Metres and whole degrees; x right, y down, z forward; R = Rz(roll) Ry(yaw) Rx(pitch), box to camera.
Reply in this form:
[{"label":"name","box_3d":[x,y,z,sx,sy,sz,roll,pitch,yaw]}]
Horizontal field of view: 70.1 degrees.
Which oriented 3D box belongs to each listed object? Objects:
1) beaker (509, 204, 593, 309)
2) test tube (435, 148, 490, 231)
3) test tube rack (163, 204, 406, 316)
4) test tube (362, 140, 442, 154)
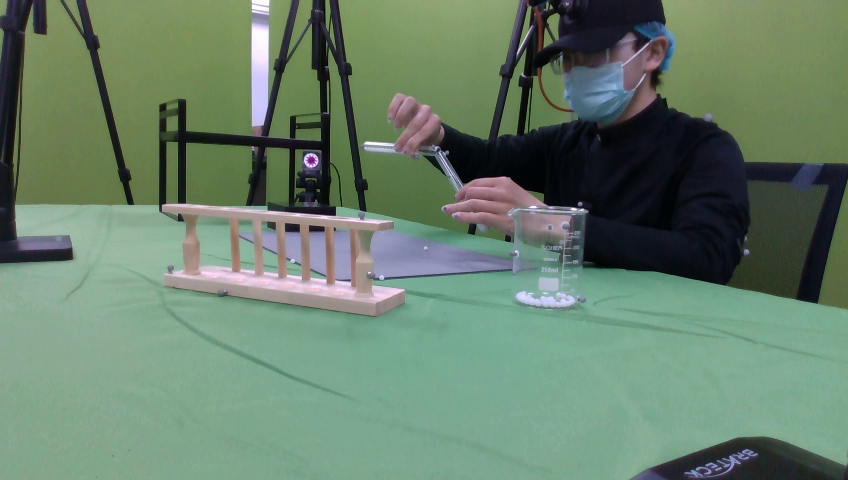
[{"label":"beaker","box_3d":[0.125,0.015,0.613,0.084,0.100,0.074,1,7,-5]},{"label":"test tube","box_3d":[0.059,-0.077,0.921,0.017,0.150,0.017,-28,-15,-8]},{"label":"test tube rack","box_3d":[-0.141,0.013,0.601,0.241,0.085,0.067,5,8,21]},{"label":"test tube","box_3d":[-0.038,-0.150,0.977,0.149,0.017,0.017,8,10,30]}]
